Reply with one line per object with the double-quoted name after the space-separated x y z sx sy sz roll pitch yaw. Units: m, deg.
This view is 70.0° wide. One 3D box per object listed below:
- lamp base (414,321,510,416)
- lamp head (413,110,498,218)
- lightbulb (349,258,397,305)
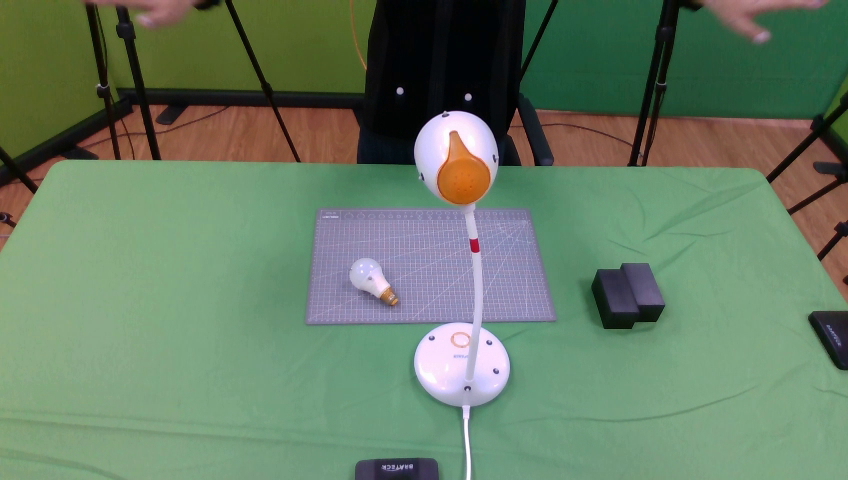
0.069 0.159 0.942 0.161 0.181 0.178 -4 49 -8 "lamp base"
0.044 -0.090 0.758 0.112 0.113 0.122 -1 32 -4 "lamp head"
-0.090 0.078 1.095 0.107 0.060 0.059 43 56 12 "lightbulb"
